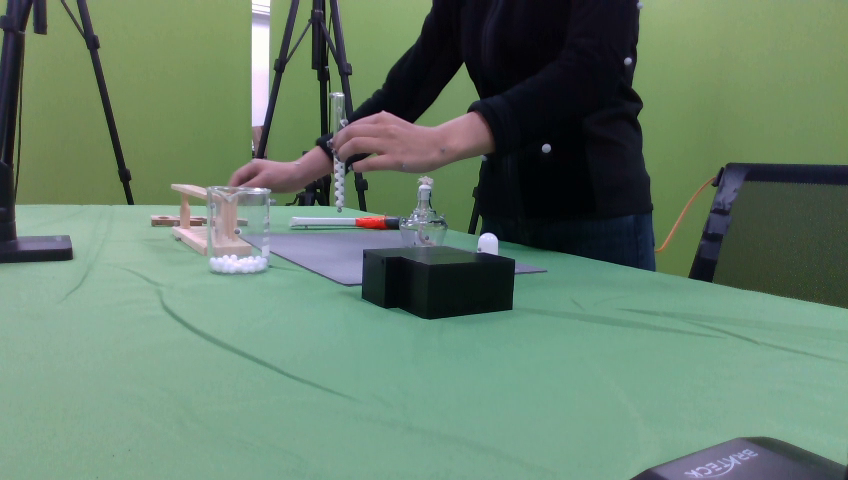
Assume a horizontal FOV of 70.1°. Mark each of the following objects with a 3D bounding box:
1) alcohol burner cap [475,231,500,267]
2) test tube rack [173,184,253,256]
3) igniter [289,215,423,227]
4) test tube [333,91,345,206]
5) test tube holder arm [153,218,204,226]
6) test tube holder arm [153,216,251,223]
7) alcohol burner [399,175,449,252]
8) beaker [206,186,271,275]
[{"bbox_3d":[0.088,0.012,0.830,0.034,0.048,0.034,2,6,0],"label":"alcohol burner cap"},{"bbox_3d":[-0.329,-0.036,0.927,0.067,0.085,0.241,-2,9,-32],"label":"test tube rack"},{"bbox_3d":[-0.133,-0.038,1.232,0.278,0.025,0.057,-1,-2,-25],"label":"igniter"},{"bbox_3d":[-0.112,-0.120,0.797,0.017,0.150,0.017,0,4,0],"label":"test tube"},{"bbox_3d":[-0.459,-0.034,1.132,0.088,0.015,0.010,-1,43,-30],"label":"test tube holder arm"},{"bbox_3d":[-0.422,-0.039,1.159,0.179,0.015,0.013,-2,43,-31],"label":"test tube holder arm"},{"bbox_3d":[0.000,-0.041,0.937,0.078,0.119,0.078,0,7,0],"label":"alcohol burner"},{"bbox_3d":[-0.220,-0.012,0.717,0.074,0.100,0.084,2,8,-3],"label":"beaker"}]
